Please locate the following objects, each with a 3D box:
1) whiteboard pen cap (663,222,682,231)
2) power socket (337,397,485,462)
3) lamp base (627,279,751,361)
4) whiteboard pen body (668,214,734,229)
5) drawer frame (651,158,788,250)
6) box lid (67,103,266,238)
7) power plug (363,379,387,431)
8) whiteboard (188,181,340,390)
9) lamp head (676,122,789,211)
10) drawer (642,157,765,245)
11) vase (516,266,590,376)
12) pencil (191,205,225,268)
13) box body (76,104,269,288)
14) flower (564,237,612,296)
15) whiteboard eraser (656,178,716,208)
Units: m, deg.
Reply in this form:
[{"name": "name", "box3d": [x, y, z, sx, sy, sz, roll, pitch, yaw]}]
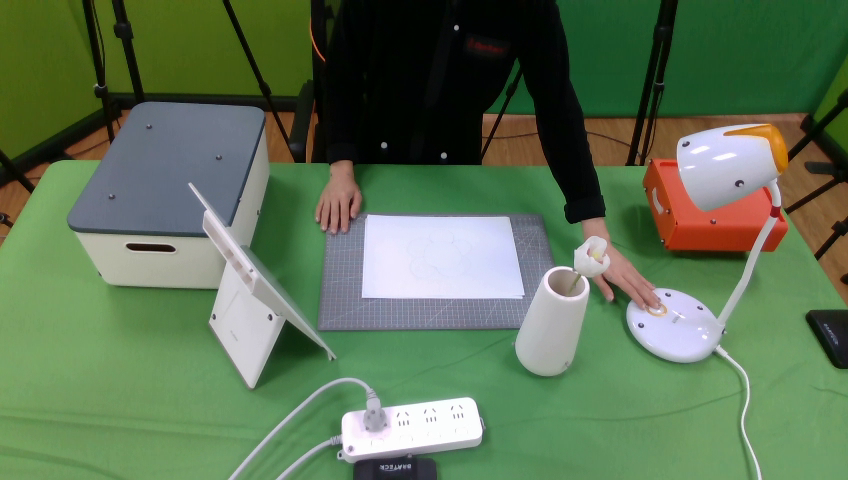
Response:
[{"name": "whiteboard pen cap", "box3d": [0.488, -0.027, 1.188, 0.033, 0.018, 0.018, -1, 46, -13]}, {"name": "power socket", "box3d": [-0.018, 0.285, 0.915, 0.227, 0.033, 0.071, -5, 46, -8]}, {"name": "lamp base", "box3d": [0.459, 0.100, 1.027, 0.178, 0.181, 0.160, 27, 51, 17]}, {"name": "whiteboard pen body", "box3d": [0.547, -0.035, 1.200, 0.141, 0.017, 0.017, -8, 48, -9]}, {"name": "drawer frame", "box3d": [0.571, -0.074, 1.213, 0.214, 0.083, 0.200, 1, 46, 0]}, {"name": "box lid", "box3d": [-0.447, -0.137, 1.093, 0.263, 0.015, 0.369, 2, 45, -2]}, {"name": "power plug", "box3d": [-0.072, 0.252, 0.910, 0.035, 0.053, 0.072, 3, 44, -1]}, {"name": "whiteboard", "box3d": [-0.292, 0.096, 0.929, 0.144, 0.307, 0.216, -38, 57, -11]}, {"name": "lamp head", "box3d": [0.423, -0.104, 0.819, 0.122, 0.113, 0.112, -13, 33, 40]}, {"name": "drawer", "box3d": [0.564, -0.075, 1.210, 0.212, 0.073, 0.193, 3, 45, -1]}, {"name": "vase", "box3d": [0.208, 0.132, 0.965, 0.098, 0.201, 0.097, 3, 46, -3]}, {"name": "pencil", "box3d": [-0.418, -0.012, 1.183, 0.012, 0.012, 0.193, 5, 39, 0]}, {"name": "box body", "box3d": [-0.450, -0.087, 1.149, 0.254, 0.161, 0.361, 2, 46, -2]}, {"name": "flower", "box3d": [0.206, 0.088, 0.893, 0.038, 0.363, 0.044, -16, 67, -9]}, {"name": "whiteboard eraser", "box3d": [0.538, -0.095, 1.251, 0.113, 0.042, 0.055, 4, 52, -10]}]
